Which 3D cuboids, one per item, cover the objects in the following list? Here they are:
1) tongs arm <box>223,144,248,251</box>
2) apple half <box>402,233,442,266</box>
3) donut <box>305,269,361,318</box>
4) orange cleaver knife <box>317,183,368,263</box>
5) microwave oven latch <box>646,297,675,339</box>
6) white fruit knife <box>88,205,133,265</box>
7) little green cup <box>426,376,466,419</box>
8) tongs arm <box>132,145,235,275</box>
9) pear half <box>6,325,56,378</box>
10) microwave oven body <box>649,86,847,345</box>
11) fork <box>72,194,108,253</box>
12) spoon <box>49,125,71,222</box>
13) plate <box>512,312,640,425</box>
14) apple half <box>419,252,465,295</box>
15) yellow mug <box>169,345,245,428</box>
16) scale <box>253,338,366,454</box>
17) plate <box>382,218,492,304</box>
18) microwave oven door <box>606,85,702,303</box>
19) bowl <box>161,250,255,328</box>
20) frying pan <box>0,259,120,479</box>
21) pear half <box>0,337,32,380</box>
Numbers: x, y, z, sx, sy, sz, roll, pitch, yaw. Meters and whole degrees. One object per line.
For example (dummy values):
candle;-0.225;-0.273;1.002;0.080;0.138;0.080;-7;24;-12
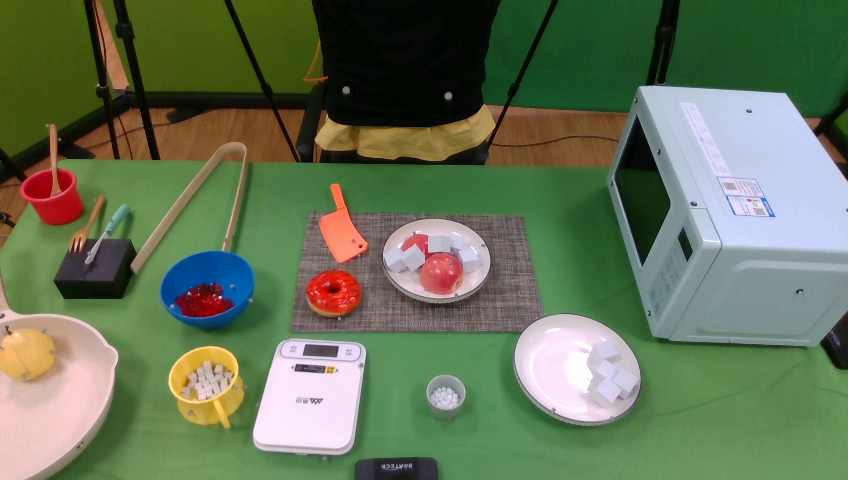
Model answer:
tongs arm;-0.398;-0.072;1.232;0.051;0.027;0.382;-3;45;0
apple half;-0.004;0.013;1.160;0.081;0.033;0.081;4;45;-4
donut;-0.160;0.094;1.075;0.099;0.048;0.098;4;45;-3
orange cleaver knife;-0.174;-0.037;1.218;0.077;0.012;0.210;-17;51;-11
microwave oven latch;0.412;0.134;1.061;0.030;0.029;0.078;4;45;1
white fruit knife;-0.584;-0.013;1.129;0.016;0.027;0.206;0;32;-5
little green cup;0.033;0.248;0.950;0.061;0.039;0.061;2;46;-2
tongs arm;-0.483;-0.075;1.235;0.028;0.028;0.385;5;44;13
pear half;-0.608;0.158;0.935;0.076;0.110;0.056;31;51;20
microwave oven body;0.567;-0.053;1.118;0.326;0.261;0.439;2;45;-1
fork;-0.634;-0.036;1.158;0.028;0.019;0.206;-8;32;-8
spoon;-0.719;-0.131;1.189;0.041;0.021;0.193;-3;91;-5
plate;0.246;0.213;0.999;0.208;0.039;0.206;2;46;-2
apple half;0.035;0.056;1.109;0.074;0.053;0.081;37;55;25
yellow mug;-0.322;0.230;0.922;0.100;0.064;0.130;-24;53;-25
scale;-0.175;0.236;0.951;0.149;0.032;0.199;5;45;-1
plate;0.023;0.042;1.143;0.209;0.038;0.208;2;46;-2
microwave oven door;0.423;-0.094;1.140;0.039;0.245;0.353;2;46;-1
bowl;-0.362;0.098;1.039;0.151;0.077;0.150;2;45;-2
frying pan;-0.647;0.164;0.936;0.307;0.103;0.485;-19;58;-22
pear half;-0.631;0.184;0.921;0.070;0.088;0.031;29;49;19
